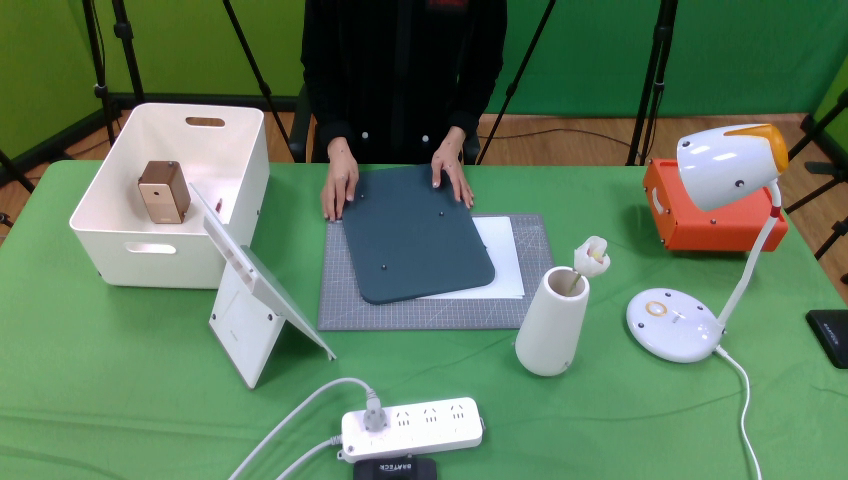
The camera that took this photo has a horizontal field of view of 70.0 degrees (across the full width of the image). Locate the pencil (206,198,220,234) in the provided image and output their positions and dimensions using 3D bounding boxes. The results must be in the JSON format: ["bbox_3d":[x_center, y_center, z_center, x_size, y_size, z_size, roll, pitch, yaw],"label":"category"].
[{"bbox_3d":[-0.419,-0.018,1.181,0.012,0.012,0.193,2,46,-2],"label":"pencil"}]

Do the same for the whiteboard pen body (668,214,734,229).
[{"bbox_3d":[0.547,-0.035,1.200,0.141,0.017,0.017,-8,48,-9],"label":"whiteboard pen body"}]

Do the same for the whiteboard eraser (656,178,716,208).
[{"bbox_3d":[0.538,-0.095,1.251,0.113,0.042,0.055,4,52,-10],"label":"whiteboard eraser"}]

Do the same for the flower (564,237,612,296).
[{"bbox_3d":[0.206,0.088,0.892,0.038,0.363,0.044,-16,67,-9],"label":"flower"}]

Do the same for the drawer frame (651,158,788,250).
[{"bbox_3d":[0.571,-0.074,1.213,0.214,0.083,0.200,2,46,0],"label":"drawer frame"}]

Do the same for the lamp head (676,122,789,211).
[{"bbox_3d":[0.423,-0.104,0.819,0.122,0.113,0.112,-13,33,40],"label":"lamp head"}]

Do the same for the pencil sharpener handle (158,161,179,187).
[{"bbox_3d":[-0.503,-0.138,1.208,0.036,0.068,0.030,3,45,-4],"label":"pencil sharpener handle"}]

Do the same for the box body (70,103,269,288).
[{"bbox_3d":[-0.450,-0.087,1.149,0.254,0.161,0.361,2,46,-2],"label":"box body"}]

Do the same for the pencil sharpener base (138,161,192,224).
[{"bbox_3d":[-0.502,-0.094,1.181,0.061,0.107,0.076,0,45,-2],"label":"pencil sharpener base"}]

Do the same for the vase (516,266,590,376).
[{"bbox_3d":[0.208,0.132,0.964,0.098,0.201,0.097,3,46,-3],"label":"vase"}]

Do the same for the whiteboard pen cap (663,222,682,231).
[{"bbox_3d":[0.488,-0.027,1.188,0.033,0.018,0.018,0,46,-14],"label":"whiteboard pen cap"}]

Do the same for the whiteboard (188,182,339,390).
[{"bbox_3d":[-0.292,0.096,0.929,0.144,0.307,0.216,-38,57,-11],"label":"whiteboard"}]

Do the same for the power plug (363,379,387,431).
[{"bbox_3d":[-0.072,0.252,0.910,0.035,0.053,0.072,3,45,-1],"label":"power plug"}]

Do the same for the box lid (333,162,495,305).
[{"bbox_3d":[-0.030,-0.028,1.227,0.264,0.015,0.369,-9,47,-13],"label":"box lid"}]

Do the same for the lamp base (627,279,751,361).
[{"bbox_3d":[0.459,0.100,1.027,0.178,0.181,0.160,27,51,17],"label":"lamp base"}]

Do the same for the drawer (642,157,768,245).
[{"bbox_3d":[0.564,-0.075,1.210,0.212,0.073,0.193,3,45,-1],"label":"drawer"}]

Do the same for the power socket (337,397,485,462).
[{"bbox_3d":[-0.018,0.285,0.915,0.227,0.033,0.071,-5,46,-8],"label":"power socket"}]
